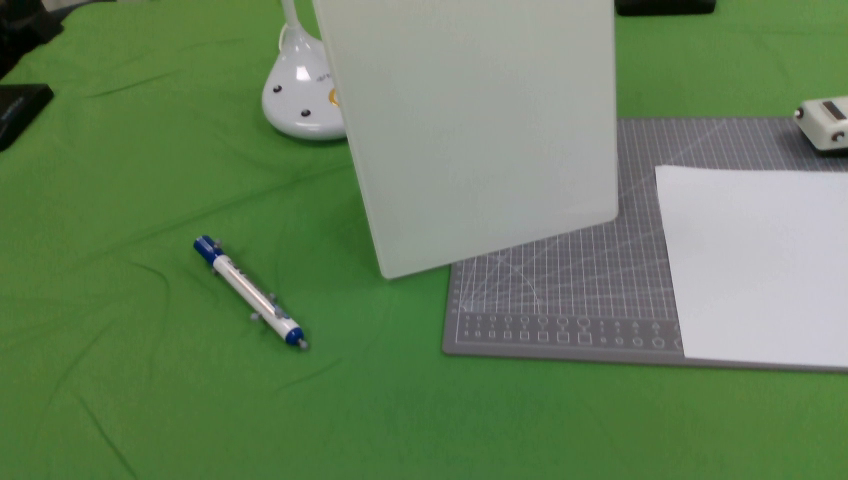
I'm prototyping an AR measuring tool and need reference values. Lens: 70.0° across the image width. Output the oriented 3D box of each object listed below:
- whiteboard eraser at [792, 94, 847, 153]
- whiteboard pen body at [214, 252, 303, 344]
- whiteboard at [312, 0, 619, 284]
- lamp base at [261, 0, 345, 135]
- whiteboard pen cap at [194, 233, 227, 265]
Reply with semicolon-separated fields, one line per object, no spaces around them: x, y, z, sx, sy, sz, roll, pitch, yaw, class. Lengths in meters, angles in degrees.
0.413;-0.111;0.566;0.113;0.042;0.055;-6;49;2;whiteboard eraser
-0.148;0.041;0.511;0.017;0.017;0.139;-38;58;-25;whiteboard pen body
0.030;-0.151;0.512;0.217;0.308;0.142;-14;29;-5;whiteboard
-0.123;-0.231;0.646;0.160;0.182;0.177;-36;51;-23;lamp base
-0.189;0.009;0.540;0.018;0.018;0.033;-38;60;-25;whiteboard pen cap
